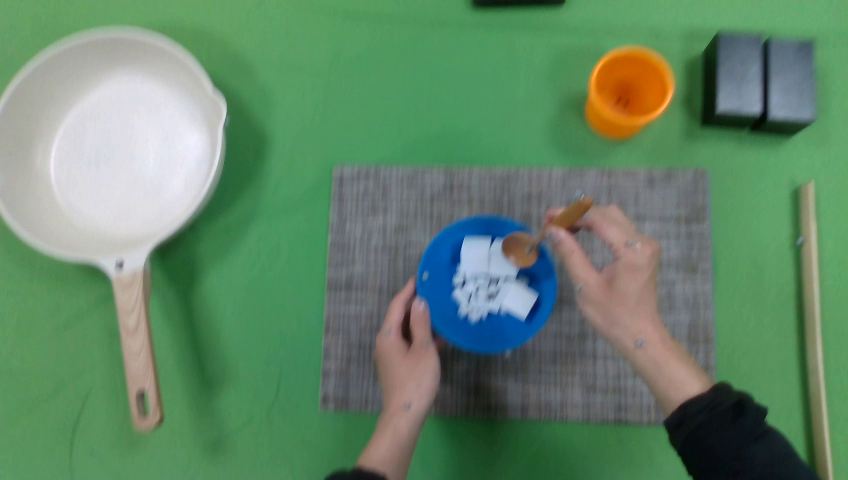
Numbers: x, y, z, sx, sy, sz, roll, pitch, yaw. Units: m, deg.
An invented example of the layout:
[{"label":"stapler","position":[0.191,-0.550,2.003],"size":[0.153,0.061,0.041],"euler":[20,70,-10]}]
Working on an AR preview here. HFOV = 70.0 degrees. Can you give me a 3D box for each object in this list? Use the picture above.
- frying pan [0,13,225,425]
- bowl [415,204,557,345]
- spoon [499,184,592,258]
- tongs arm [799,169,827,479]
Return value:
[{"label":"frying pan","position":[-0.352,-0.029,0.709],"size":[0.307,0.103,0.484],"euler":[-15,73,3]},{"label":"bowl","position":[0.068,0.041,0.677],"size":[0.151,0.077,0.151],"euler":[-1,82,4]},{"label":"spoon","position":[0.108,-0.014,0.553],"size":[0.021,0.194,0.041],"euler":[-41,87,-14]},{"label":"tongs arm","position":[0.438,0.111,0.672],"size":[0.028,0.028,0.386],"euler":[0,83,3]}]
